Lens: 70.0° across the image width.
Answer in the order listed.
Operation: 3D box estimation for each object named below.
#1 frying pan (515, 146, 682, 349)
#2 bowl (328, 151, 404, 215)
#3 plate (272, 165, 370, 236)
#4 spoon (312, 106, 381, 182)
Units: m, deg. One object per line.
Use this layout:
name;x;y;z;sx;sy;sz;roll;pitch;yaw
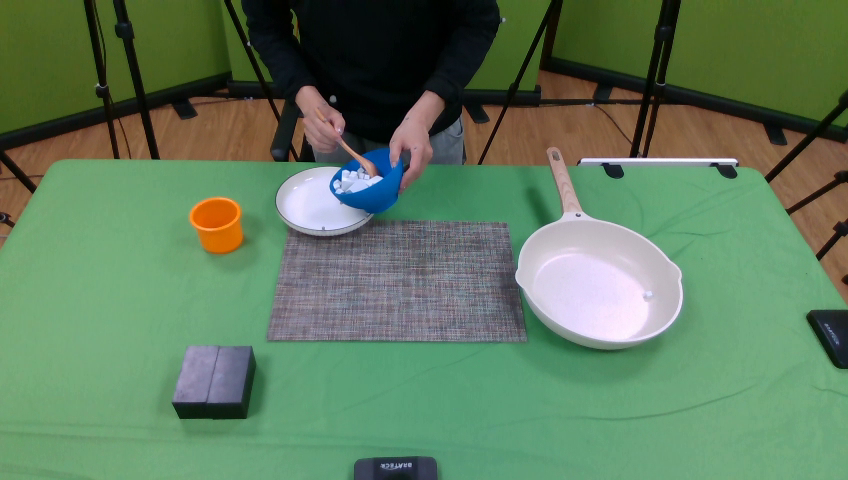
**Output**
frying pan;0.303;-0.004;1.168;0.307;0.103;0.484;-2;55;-7
bowl;-0.099;-0.100;1.165;0.151;0.077;0.150;-17;29;10
plate;-0.204;-0.076;1.240;0.208;0.039;0.206;3;44;-2
spoon;-0.148;-0.178;1.160;0.194;0.021;0.041;45;29;-14
